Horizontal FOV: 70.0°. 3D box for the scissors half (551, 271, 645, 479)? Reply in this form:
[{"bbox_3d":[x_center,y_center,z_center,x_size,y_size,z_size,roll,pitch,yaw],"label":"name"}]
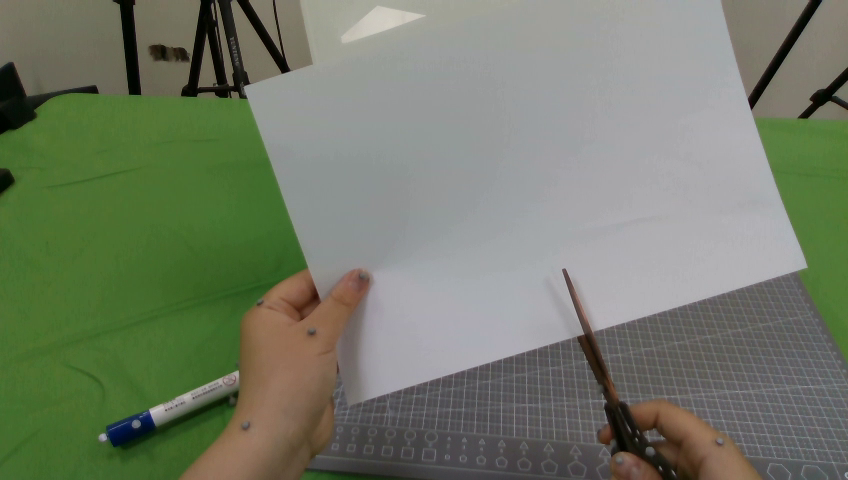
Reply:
[{"bbox_3d":[0.113,0.100,0.375,0.013,0.175,0.040,-23,4,-7],"label":"scissors half"}]

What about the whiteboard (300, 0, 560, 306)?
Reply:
[{"bbox_3d":[-0.003,-0.124,0.610,0.218,0.307,0.142,-15,20,-16],"label":"whiteboard"}]

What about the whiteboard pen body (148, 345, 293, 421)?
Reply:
[{"bbox_3d":[-0.172,0.117,0.482,0.141,0.017,0.017,-21,43,-27],"label":"whiteboard pen body"}]

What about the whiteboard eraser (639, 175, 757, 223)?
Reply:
[{"bbox_3d":[0.300,-0.045,0.670,0.112,0.042,0.055,2,40,2],"label":"whiteboard eraser"}]

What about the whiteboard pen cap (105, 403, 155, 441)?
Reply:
[{"bbox_3d":[-0.221,0.136,0.456,0.033,0.018,0.018,-23,43,-26],"label":"whiteboard pen cap"}]

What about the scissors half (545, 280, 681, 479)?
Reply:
[{"bbox_3d":[0.111,0.093,0.352,0.013,0.040,0.173,-24,57,-3],"label":"scissors half"}]
